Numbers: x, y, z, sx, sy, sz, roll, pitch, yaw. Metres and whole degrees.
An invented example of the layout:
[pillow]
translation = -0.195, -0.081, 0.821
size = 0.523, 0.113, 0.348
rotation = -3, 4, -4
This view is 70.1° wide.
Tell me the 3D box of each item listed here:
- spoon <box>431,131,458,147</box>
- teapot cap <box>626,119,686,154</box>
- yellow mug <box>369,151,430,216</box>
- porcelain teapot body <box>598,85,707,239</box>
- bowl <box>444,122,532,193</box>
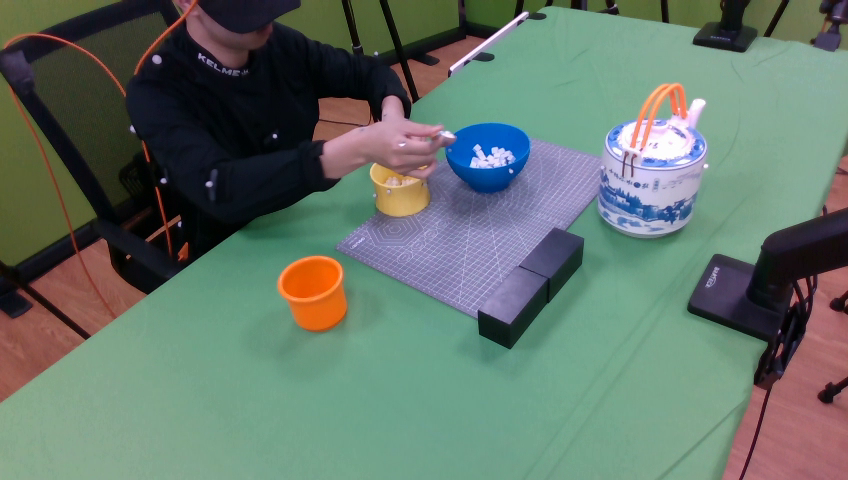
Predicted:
[spoon]
translation = 0.026, -0.158, 0.933
size = 0.041, 0.021, 0.194
rotation = -14, 2, 10
[teapot cap]
translation = 0.338, -0.153, 0.882
size = 0.085, 0.044, 0.085
rotation = -3, 38, 3
[yellow mug]
translation = -0.039, -0.107, 1.058
size = 0.100, 0.064, 0.130
rotation = 4, 43, 9
[porcelain teapot body]
translation = 0.363, -0.137, 0.921
size = 0.144, 0.226, 0.206
rotation = 28, 51, 36
[bowl]
translation = 0.113, -0.136, 1.063
size = 0.151, 0.077, 0.150
rotation = -4, 41, 4
